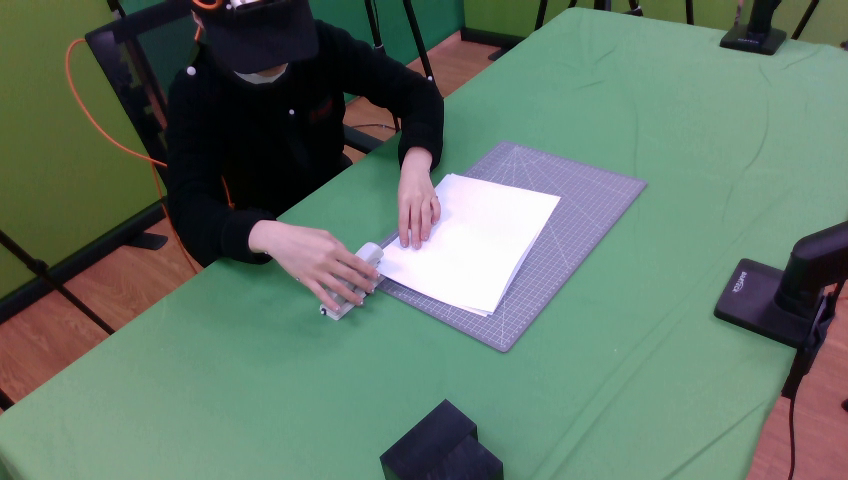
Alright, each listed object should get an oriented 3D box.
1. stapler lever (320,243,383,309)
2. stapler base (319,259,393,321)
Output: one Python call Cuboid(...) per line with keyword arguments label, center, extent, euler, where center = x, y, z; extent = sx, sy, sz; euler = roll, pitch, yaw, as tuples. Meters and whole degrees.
Cuboid(label="stapler lever", center=(-0.106, 0.049, 0.888), extent=(0.026, 0.040, 0.118), euler=(25, 54, 34))
Cuboid(label="stapler base", center=(-0.102, 0.067, 0.907), extent=(0.041, 0.024, 0.131), euler=(25, 53, 34))
